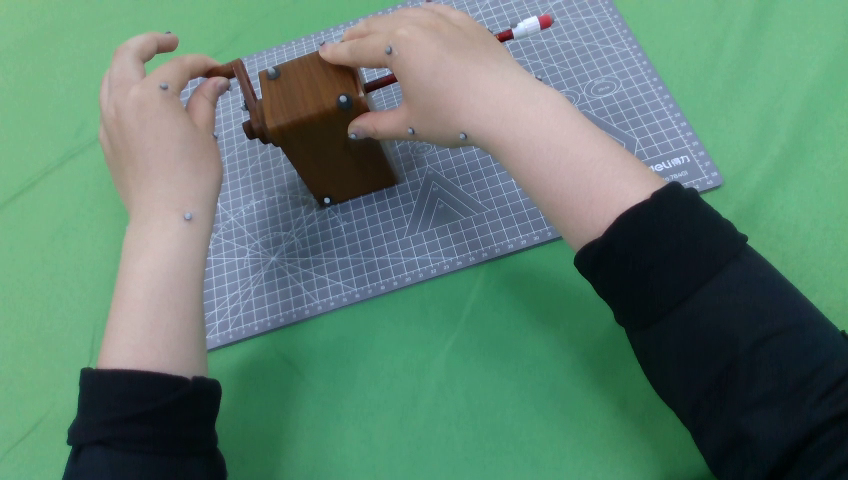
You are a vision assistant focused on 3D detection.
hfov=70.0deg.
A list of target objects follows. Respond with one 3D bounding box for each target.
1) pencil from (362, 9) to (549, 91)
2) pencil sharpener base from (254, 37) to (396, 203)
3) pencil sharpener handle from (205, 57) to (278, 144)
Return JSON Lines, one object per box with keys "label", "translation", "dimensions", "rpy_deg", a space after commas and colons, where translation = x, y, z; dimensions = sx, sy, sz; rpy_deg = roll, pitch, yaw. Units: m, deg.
{"label": "pencil", "translation": [-0.003, -0.126, 0.433], "dimensions": [0.194, 0.012, 0.012], "rpy_deg": [-20, 60, 3]}
{"label": "pencil sharpener base", "translation": [-0.074, -0.086, 0.462], "dimensions": [0.077, 0.108, 0.061], "rpy_deg": [-20, 60, 2]}
{"label": "pencil sharpener handle", "translation": [-0.133, -0.097, 0.439], "dimensions": [0.030, 0.036, 0.068], "rpy_deg": [-20, 92, 2]}
